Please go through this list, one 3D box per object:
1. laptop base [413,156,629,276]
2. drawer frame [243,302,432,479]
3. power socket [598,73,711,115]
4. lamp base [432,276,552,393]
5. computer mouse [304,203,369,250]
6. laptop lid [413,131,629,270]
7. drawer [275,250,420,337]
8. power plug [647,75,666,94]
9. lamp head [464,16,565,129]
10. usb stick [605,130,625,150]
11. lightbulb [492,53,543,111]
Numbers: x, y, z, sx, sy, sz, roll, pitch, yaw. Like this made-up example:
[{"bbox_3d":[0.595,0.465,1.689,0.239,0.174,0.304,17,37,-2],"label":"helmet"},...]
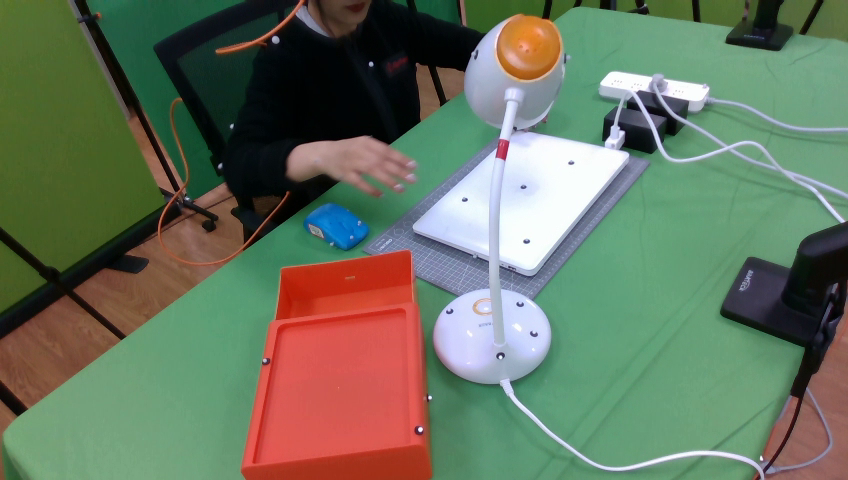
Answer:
[{"bbox_3d":[0.176,-0.077,1.048,0.233,0.023,0.355,19,47,34],"label":"laptop base"},{"bbox_3d":[-0.096,0.185,0.738,0.202,0.083,0.212,-8,40,1],"label":"drawer frame"},{"bbox_3d":[0.470,-0.304,1.249,0.225,0.033,0.072,20,49,30],"label":"power socket"},{"bbox_3d":[0.085,0.075,0.756,0.161,0.181,0.178,-14,44,-6],"label":"lamp base"},{"bbox_3d":[-0.151,-0.026,1.037,0.116,0.041,0.063,28,51,31],"label":"computer mouse"},{"bbox_3d":[0.172,-0.087,1.042,0.239,0.013,0.358,21,48,34],"label":"laptop lid"},{"bbox_3d":[-0.103,0.117,0.825,0.194,0.073,0.210,-8,40,1],"label":"drawer"},{"bbox_3d":[0.457,-0.301,1.212,0.073,0.053,0.035,-36,47,-28],"label":"power plug"},{"bbox_3d":[0.101,-0.184,0.655,0.112,0.112,0.123,-9,0,0],"label":"lamp head"},{"bbox_3d":[0.348,-0.175,1.110,0.021,0.027,0.059,19,52,29],"label":"usb stick"},{"bbox_3d":[0.108,-0.181,0.679,0.059,0.059,0.108,-9,-3,1],"label":"lightbulb"}]
